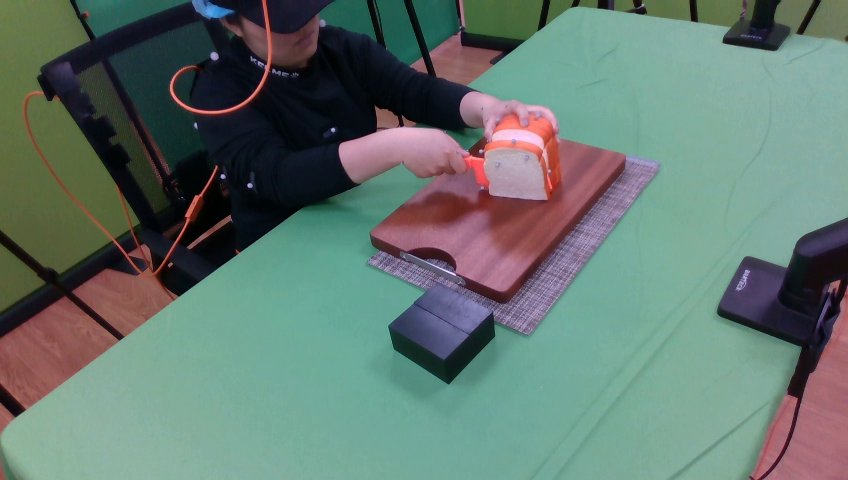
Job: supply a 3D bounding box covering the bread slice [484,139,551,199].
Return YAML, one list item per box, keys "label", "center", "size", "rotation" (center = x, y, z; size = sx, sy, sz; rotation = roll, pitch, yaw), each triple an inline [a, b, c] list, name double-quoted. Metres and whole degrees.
- label: "bread slice"
  center: [0.146, -0.111, 0.966]
  size: [0.104, 0.132, 0.019]
  rotation: [6, 59, 20]

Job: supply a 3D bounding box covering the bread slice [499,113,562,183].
- label: "bread slice"
  center: [0.176, -0.151, 1.007]
  size: [0.106, 0.135, 0.018]
  rotation: [13, 52, 23]

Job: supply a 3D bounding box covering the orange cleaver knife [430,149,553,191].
- label: "orange cleaver knife"
  center: [0.112, -0.116, 1.011]
  size: [0.210, 0.077, 0.012]
  rotation: [10, 48, 21]
